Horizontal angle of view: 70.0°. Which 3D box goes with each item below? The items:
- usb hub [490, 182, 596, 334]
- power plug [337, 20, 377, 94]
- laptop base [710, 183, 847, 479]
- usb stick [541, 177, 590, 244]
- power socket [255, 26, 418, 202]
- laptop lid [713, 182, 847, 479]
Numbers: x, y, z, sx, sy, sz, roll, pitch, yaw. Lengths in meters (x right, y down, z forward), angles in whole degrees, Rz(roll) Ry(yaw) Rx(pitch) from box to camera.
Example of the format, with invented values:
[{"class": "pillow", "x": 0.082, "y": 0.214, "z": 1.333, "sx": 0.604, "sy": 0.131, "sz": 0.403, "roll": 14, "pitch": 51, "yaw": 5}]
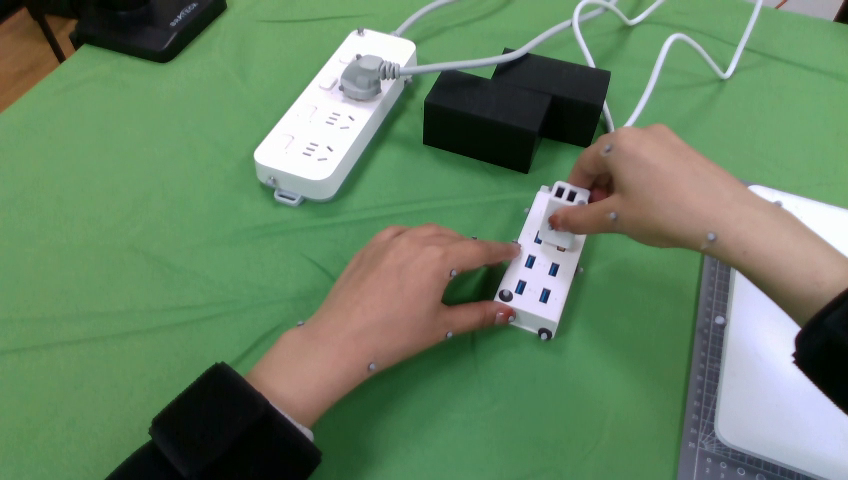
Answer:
[{"class": "usb hub", "x": 0.093, "y": 0.010, "z": 0.465, "sx": 0.049, "sy": 0.025, "sz": 0.124, "roll": 19, "pitch": 54, "yaw": 13}, {"class": "power plug", "x": -0.058, "y": -0.160, "z": 0.554, "sx": 0.035, "sy": 0.053, "sz": 0.072, "roll": 11, "pitch": 45, "yaw": -6}, {"class": "laptop base", "x": 0.386, "y": 0.096, "z": 0.418, "sx": 0.353, "sy": 0.023, "sz": 0.234, "roll": 19, "pitch": 57, "yaw": 11}, {"class": "usb stick", "x": 0.102, "y": -0.019, "z": 0.444, "sx": 0.027, "sy": 0.059, "sz": 0.021, "roll": 14, "pitch": 59, "yaw": 12}, {"class": "power socket", "x": -0.073, "y": -0.124, "z": 0.554, "sx": 0.072, "sy": 0.033, "sz": 0.225, "roll": 19, "pitch": 54, "yaw": 11}, {"class": "laptop lid", "x": 0.385, "y": 0.090, "z": 0.407, "sx": 0.355, "sy": 0.013, "sz": 0.240, "roll": 20, "pitch": 57, "yaw": 12}]
